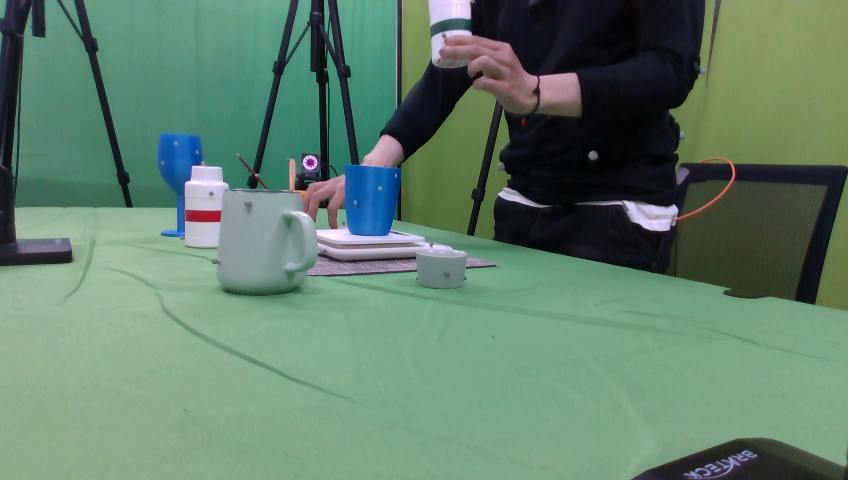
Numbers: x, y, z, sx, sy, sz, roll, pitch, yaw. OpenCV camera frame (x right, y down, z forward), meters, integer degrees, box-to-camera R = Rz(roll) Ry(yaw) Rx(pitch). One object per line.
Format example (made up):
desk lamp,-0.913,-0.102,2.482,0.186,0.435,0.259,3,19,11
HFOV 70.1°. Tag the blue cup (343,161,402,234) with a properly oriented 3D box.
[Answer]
blue cup,-0.078,-0.062,0.884,0.093,0.100,0.092,4,6,0

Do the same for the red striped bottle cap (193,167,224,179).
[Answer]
red striped bottle cap,-0.329,-0.103,0.921,0.044,0.017,0.044,-1,9,0

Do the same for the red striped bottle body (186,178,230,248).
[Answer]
red striped bottle body,-0.331,-0.049,0.927,0.063,0.119,0.063,2,6,0

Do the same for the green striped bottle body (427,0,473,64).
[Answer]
green striped bottle body,0.038,-0.329,0.902,0.063,0.119,0.063,-4,2,0

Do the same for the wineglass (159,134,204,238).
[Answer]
wineglass,-0.415,-0.093,1.040,0.074,0.172,0.073,2,7,0

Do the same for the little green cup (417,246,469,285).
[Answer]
little green cup,0.021,0.029,0.701,0.061,0.038,0.061,1,6,0

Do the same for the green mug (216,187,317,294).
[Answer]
green mug,-0.157,0.000,0.629,0.124,0.105,0.093,7,9,37

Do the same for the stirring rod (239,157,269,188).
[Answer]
stirring rod,-0.309,-0.098,1.209,0.006,0.177,0.014,-39,29,-3

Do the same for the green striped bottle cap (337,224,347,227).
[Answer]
green striped bottle cap,-0.136,-0.016,1.095,0.044,0.020,0.044,-1,15,1

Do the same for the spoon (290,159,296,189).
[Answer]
spoon,-0.273,-0.102,1.252,0.042,0.193,0.021,7,-39,-17

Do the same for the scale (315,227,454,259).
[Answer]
scale,-0.066,0.001,0.906,0.202,0.031,0.148,-2,8,-31
